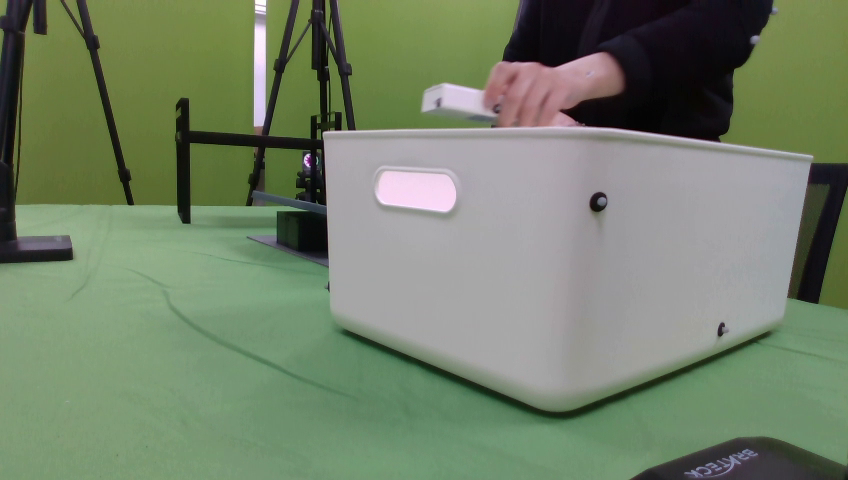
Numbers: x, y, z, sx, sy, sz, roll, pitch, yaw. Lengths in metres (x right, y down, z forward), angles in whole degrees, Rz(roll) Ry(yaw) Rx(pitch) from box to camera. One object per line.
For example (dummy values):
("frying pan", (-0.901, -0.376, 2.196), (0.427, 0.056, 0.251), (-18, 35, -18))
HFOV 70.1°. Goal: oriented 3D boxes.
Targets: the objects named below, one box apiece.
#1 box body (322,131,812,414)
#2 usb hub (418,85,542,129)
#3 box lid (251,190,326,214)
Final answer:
("box body", (0.125, -0.001, 0.510), (0.366, 0.160, 0.253), (-4, 10, -42))
("usb hub", (0.060, -0.140, 0.645), (0.126, 0.025, 0.049), (5, 3, -24))
("box lid", (-0.066, -0.028, 0.972), (0.374, 0.015, 0.262), (11, 2, -34))
